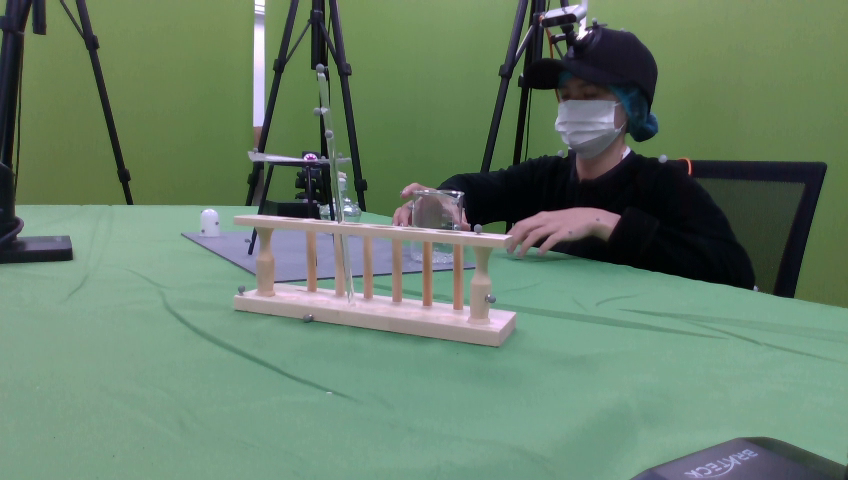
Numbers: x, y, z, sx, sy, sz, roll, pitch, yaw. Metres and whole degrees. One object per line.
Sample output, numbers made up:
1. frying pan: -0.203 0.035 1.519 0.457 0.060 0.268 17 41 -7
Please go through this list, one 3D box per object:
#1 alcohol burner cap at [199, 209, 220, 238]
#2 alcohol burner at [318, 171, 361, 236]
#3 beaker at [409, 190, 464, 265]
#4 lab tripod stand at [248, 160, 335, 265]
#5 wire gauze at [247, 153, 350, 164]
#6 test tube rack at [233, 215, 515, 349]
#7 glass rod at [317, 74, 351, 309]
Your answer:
1. alcohol burner cap: -0.356 -0.027 1.002 0.034 0.048 0.034 2 7 0
2. alcohol burner: -0.155 -0.067 1.104 0.078 0.119 0.078 1 8 0
3. beaker: 0.018 -0.018 0.840 0.074 0.100 0.083 -2 9 -35
4. lab tripod stand: -0.165 -0.041 0.817 0.148 0.131 0.148 5 7 0
5. wire gauze: -0.170 -0.106 0.802 0.122 0.011 0.124 1 9 -20
6. test tube rack: -0.045 0.029 0.526 0.241 0.085 0.067 5 8 19
7. glass rod: -0.075 -0.036 0.502 0.008 0.199 0.008 -5 8 1
